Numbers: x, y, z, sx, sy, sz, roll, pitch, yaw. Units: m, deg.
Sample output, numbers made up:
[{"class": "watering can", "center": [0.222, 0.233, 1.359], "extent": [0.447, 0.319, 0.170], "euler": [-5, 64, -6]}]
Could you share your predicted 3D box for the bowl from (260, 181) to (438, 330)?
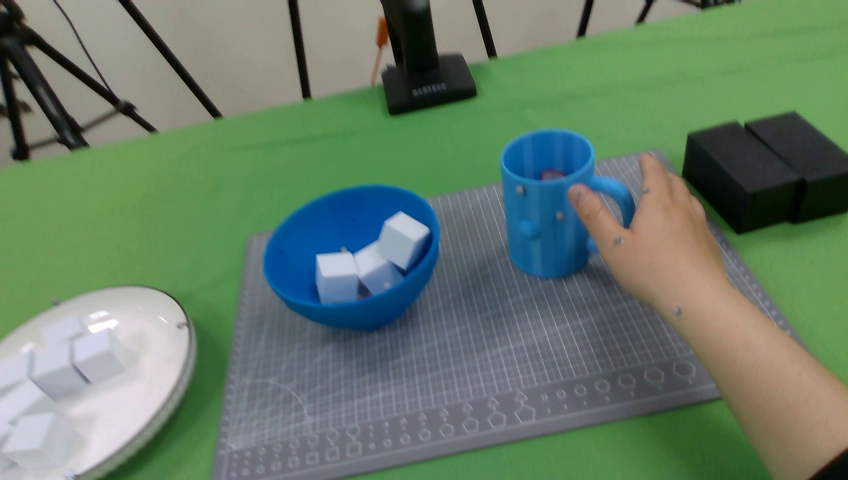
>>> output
[{"class": "bowl", "center": [-0.056, 0.025, 0.527], "extent": [0.151, 0.077, 0.150], "euler": [-7, 42, 7]}]

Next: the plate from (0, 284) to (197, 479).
[{"class": "plate", "center": [-0.291, 0.125, 0.511], "extent": [0.209, 0.038, 0.207], "euler": [-6, 43, 6]}]

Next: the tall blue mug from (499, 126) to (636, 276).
[{"class": "tall blue mug", "center": [0.123, -0.033, 0.524], "extent": [0.107, 0.109, 0.077], "euler": [-4, 42, 10]}]
